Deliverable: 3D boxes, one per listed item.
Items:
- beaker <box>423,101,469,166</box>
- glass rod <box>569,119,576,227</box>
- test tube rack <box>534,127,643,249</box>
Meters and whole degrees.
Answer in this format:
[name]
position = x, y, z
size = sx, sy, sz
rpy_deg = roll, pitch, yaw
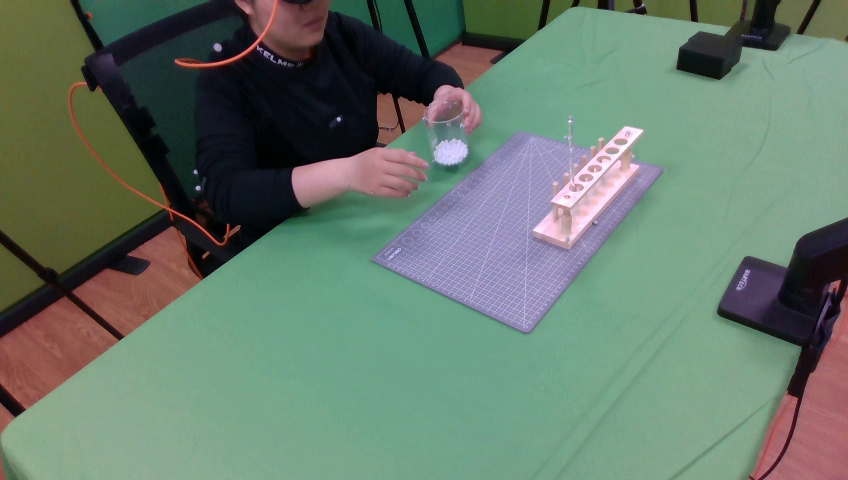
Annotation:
[beaker]
position = 0.044, -0.195, 1.112
size = 0.073, 0.101, 0.084
rpy_deg = 5, 43, 20
[glass rod]
position = 0.219, -0.093, 0.894
size = 0.008, 0.201, 0.008
rpy_deg = -8, 43, 8
[test tube rack]
position = 0.271, -0.094, 0.990
size = 0.066, 0.085, 0.243
rpy_deg = 23, 50, 33
